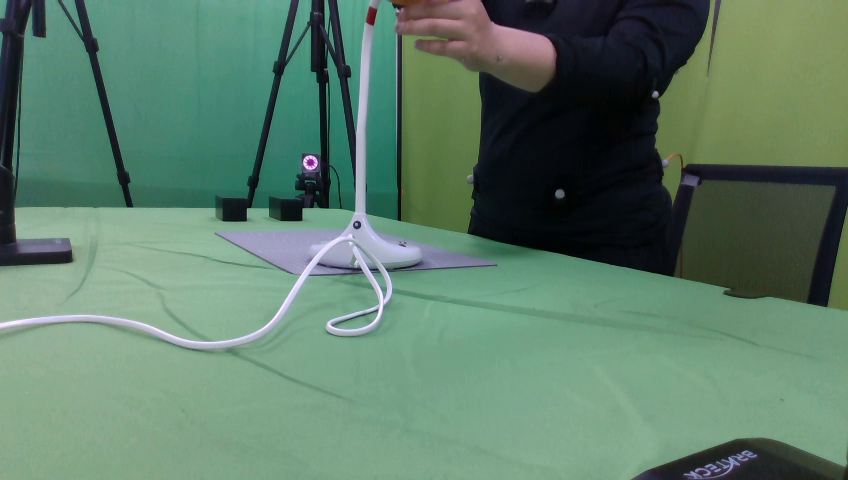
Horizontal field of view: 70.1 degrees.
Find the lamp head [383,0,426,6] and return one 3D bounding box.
[{"bbox_3d":[-0.025,-0.325,0.671,0.112,0.123,0.112,4,3,0],"label":"lamp head"}]

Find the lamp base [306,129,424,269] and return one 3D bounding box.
[{"bbox_3d":[-0.077,-0.057,0.810,0.161,0.180,0.179,2,10,-4],"label":"lamp base"}]
